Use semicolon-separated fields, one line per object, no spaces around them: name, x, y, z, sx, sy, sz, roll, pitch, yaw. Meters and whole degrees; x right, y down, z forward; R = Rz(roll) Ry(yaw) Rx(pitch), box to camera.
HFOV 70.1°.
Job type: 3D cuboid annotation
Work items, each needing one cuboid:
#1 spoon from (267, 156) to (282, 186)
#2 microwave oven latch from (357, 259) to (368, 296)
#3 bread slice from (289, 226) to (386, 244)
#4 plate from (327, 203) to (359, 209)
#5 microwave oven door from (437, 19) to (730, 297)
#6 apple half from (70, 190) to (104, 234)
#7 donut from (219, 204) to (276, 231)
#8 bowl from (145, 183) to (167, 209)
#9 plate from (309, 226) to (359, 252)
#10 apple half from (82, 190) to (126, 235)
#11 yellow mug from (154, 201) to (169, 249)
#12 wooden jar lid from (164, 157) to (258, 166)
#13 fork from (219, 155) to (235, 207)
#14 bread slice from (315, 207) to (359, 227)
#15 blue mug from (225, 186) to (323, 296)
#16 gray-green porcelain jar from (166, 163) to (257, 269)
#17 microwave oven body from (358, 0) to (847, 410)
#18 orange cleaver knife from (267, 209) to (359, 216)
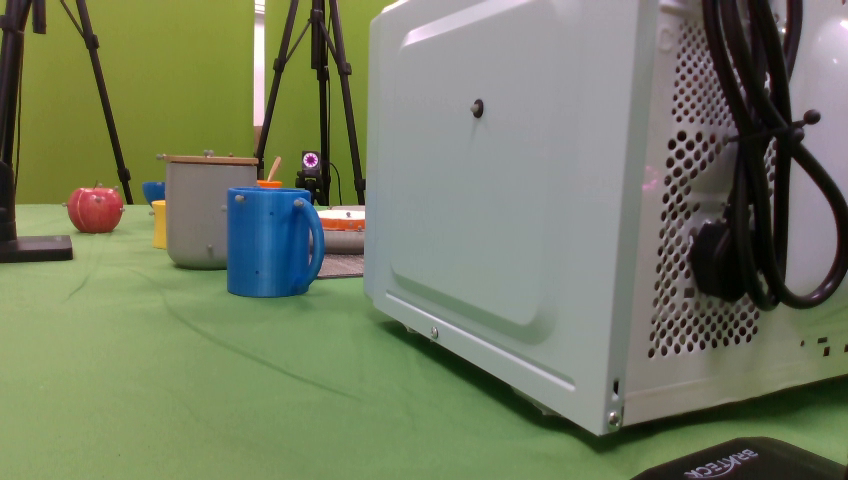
spoon;-0.391;-0.150;1.548;0.041;0.193;0.021;3;-37;7
microwave oven latch;-0.019;0.031;0.528;0.079;0.029;0.030;-1;7;-25
bread slice;-0.125;-0.008;0.938;0.131;0.019;0.105;5;7;31
plate;-0.102;-0.053;1.299;0.209;0.038;0.209;2;8;0
microwave oven door;0.181;-0.076;0.618;0.358;0.243;0.039;-2;9;-28
apple half;-0.552;-0.047;1.009;0.053;0.074;0.081;0;9;26
donut;-0.316;-0.039;1.083;0.099;0.048;0.099;2;7;0
bowl;-0.459;-0.068;1.175;0.151;0.077;0.151;3;7;0
plate;-0.130;-0.011;0.945;0.208;0.039;0.207;2;8;0
apple half;-0.517;-0.046;0.994;0.032;0.081;0.081;0;6;26
yellow mug;-0.338;-0.022;0.899;0.130;0.064;0.100;8;9;34
wooden jar lid;-0.261;-0.093;0.746;0.108;0.020;0.108;0;9;0
fork;-0.459;-0.134;1.415;0.028;0.018;0.207;-1;-34;-24
bread slice;-0.127;-0.035;0.933;0.134;0.018;0.107;4;11;27
blue mug;-0.148;0.000;0.618;0.116;0.106;0.083;7;9;33
gray-green porcelain jar;-0.263;-0.031;0.754;0.106;0.126;0.106;2;7;0
microwave oven body;0.210;-0.051;0.471;0.444;0.260;0.324;-1;7;-28
orange cleaver knife;-0.259;-0.064;1.423;0.212;0.012;0.077;-4;3;-30
